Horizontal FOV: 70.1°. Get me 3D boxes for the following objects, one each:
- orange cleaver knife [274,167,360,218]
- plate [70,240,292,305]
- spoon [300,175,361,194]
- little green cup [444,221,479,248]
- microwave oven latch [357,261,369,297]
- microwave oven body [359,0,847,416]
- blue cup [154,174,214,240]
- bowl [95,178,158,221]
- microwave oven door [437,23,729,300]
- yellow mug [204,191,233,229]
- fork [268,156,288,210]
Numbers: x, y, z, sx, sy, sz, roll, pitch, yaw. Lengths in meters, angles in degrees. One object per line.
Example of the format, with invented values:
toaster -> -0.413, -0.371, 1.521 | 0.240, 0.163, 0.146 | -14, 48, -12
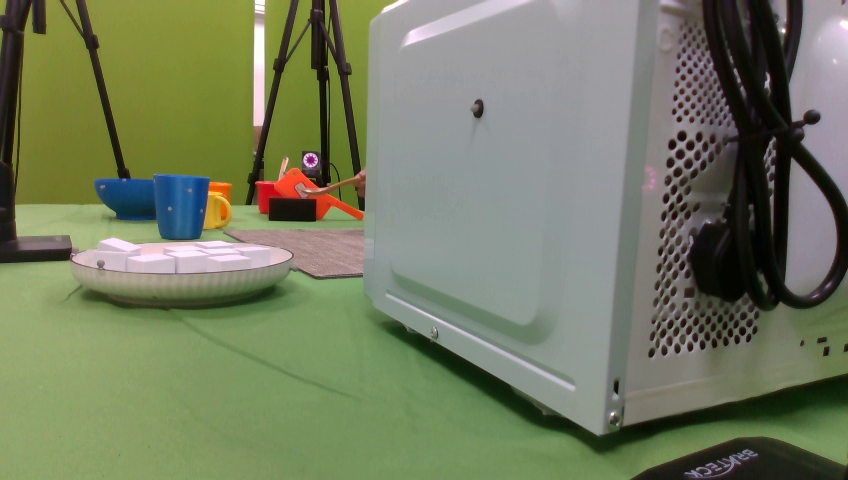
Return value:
orange cleaver knife -> -0.238, -0.091, 1.381 | 0.212, 0.077, 0.012 | 31, 0, -19
plate -> -0.242, 0.031, 0.618 | 0.208, 0.039, 0.207 | 2, 8, 0
spoon -> -0.142, -0.113, 1.160 | 0.194, 0.021, 0.041 | -13, 11, 2
little green cup -> 0.063, -0.010, 1.034 | 0.061, 0.038, 0.061 | 1, 10, 0
microwave oven latch -> -0.019, 0.033, 0.530 | 0.079, 0.029, 0.030 | -1, 7, -26
microwave oven body -> 0.211, -0.047, 0.474 | 0.444, 0.260, 0.324 | -1, 7, -28
blue cup -> -0.391, -0.053, 0.978 | 0.093, 0.100, 0.092 | 3, 6, 0
bowl -> -0.576, -0.081, 1.217 | 0.151, 0.077, 0.151 | 3, 8, 0
microwave oven door -> 0.181, -0.072, 0.621 | 0.358, 0.243, 0.039 | -2, 9, -29
yellow mug -> -0.415, -0.057, 1.132 | 0.130, 0.064, 0.100 | 6, 8, 16
fork -> -0.360, -0.144, 1.508 | 0.028, 0.018, 0.207 | 1, 49, 0
